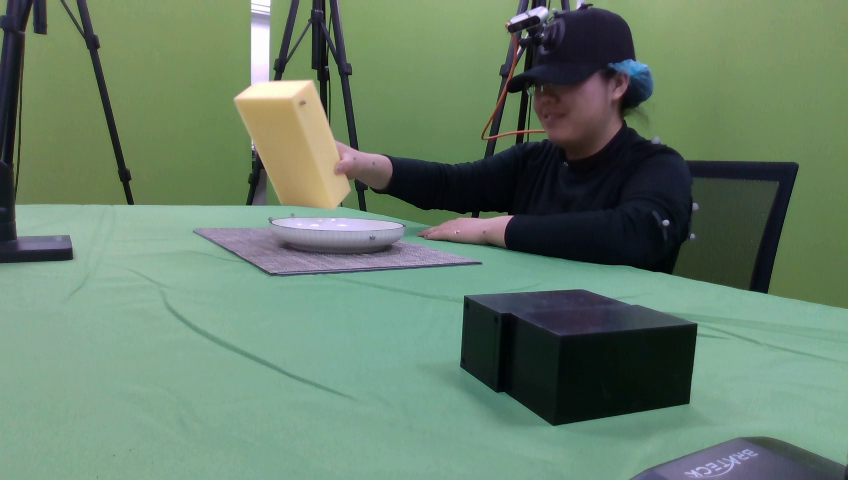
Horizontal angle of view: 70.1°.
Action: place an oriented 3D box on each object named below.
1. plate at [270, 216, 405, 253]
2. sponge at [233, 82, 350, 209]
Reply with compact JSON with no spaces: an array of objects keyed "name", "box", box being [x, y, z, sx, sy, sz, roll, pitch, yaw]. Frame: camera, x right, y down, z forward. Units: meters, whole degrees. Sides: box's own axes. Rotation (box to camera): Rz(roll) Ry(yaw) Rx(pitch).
[{"name":"plate","box":[-0.134,-0.009,0.946,0.208,0.039,0.207,3,7,0]},{"name":"sponge","box":[-0.215,-0.154,1.003,0.118,0.207,0.061,8,44,27]}]
